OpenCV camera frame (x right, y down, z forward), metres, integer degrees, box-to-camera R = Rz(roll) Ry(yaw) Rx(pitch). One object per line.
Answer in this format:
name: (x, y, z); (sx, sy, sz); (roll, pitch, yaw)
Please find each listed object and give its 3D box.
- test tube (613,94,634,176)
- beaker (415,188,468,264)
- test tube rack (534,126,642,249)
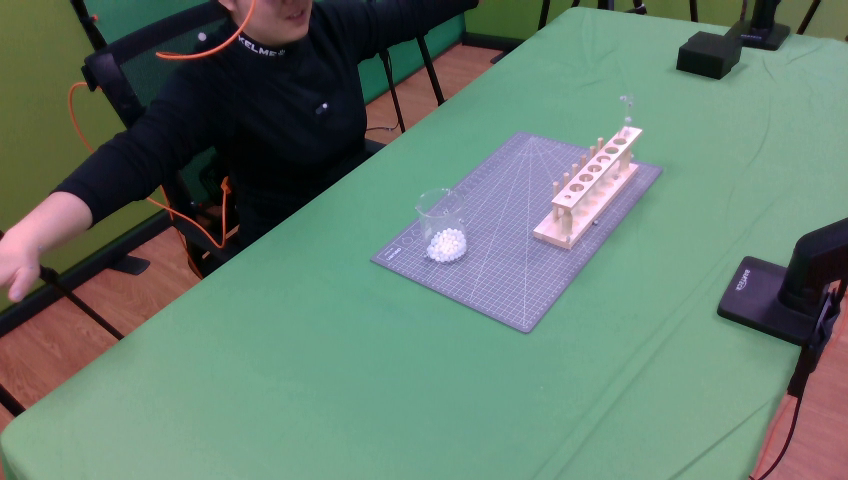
test tube: (0.325, -0.168, 0.989); (0.017, 0.151, 0.017); (-3, 40, 3)
beaker: (0.031, -0.021, 0.937); (0.073, 0.101, 0.084); (8, 42, 20)
test tube rack: (0.271, -0.095, 0.990); (0.066, 0.085, 0.243); (23, 49, 33)
